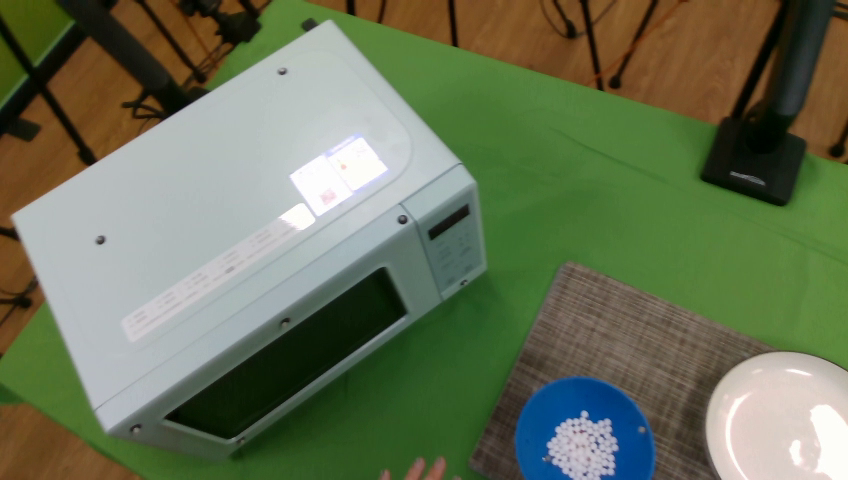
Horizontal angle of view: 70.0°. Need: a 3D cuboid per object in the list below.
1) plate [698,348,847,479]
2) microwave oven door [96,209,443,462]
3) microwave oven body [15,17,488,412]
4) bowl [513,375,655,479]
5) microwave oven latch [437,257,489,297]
[{"bbox_3d":[0.419,0.228,0.690,0.207,0.039,0.206,-3,65,7],"label":"plate"},{"bbox_3d":[-0.144,0.121,0.694,0.356,0.246,0.039,-35,64,-8],"label":"microwave oven door"},{"bbox_3d":[-0.191,-0.003,0.766,0.441,0.262,0.323,-35,65,-8],"label":"microwave oven body"},{"bbox_3d":[0.179,0.238,0.698,0.151,0.077,0.150,-3,64,7],"label":"bowl"},{"bbox_3d":[0.051,0.043,0.816,0.079,0.030,0.030,-33,65,-7],"label":"microwave oven latch"}]
